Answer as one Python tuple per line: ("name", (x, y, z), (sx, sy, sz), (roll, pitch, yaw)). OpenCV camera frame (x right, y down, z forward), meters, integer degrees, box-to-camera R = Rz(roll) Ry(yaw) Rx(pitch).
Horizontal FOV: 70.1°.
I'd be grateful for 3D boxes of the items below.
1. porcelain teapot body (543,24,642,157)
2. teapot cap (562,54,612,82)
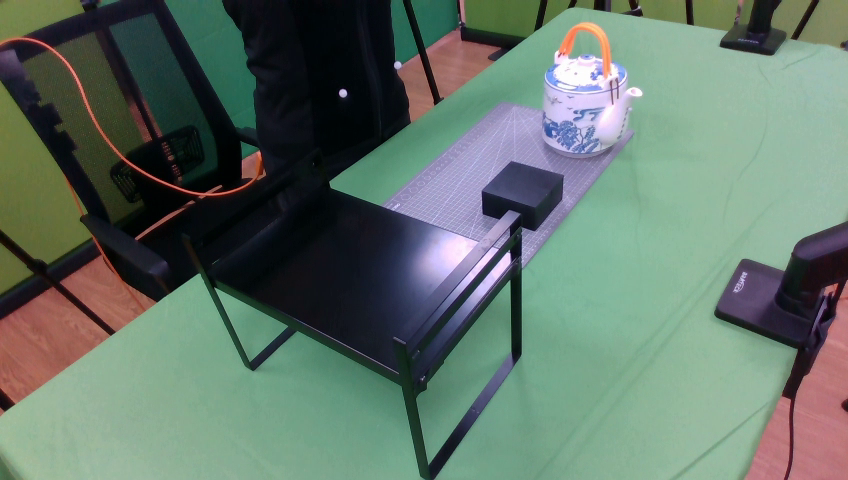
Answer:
("porcelain teapot body", (0.305, -0.258, 1.070), (0.146, 0.226, 0.203), (-26, 44, -20))
("teapot cap", (0.287, -0.303, 1.064), (0.085, 0.044, 0.085), (-2, 42, 2))
